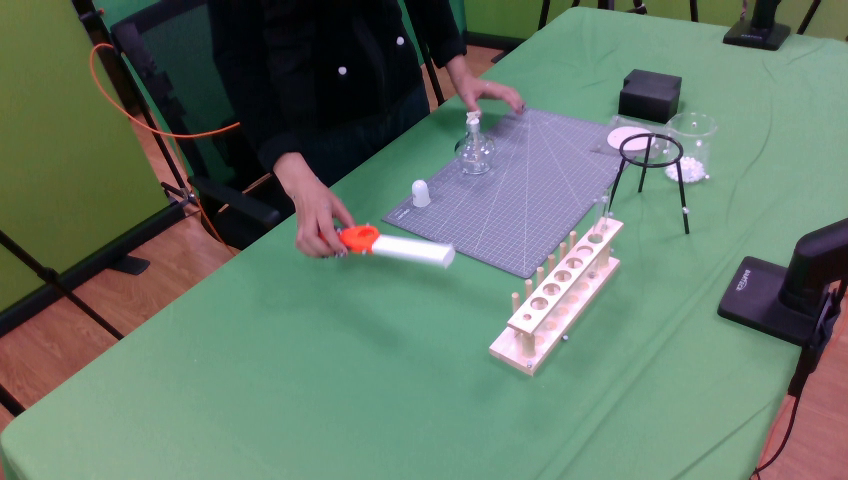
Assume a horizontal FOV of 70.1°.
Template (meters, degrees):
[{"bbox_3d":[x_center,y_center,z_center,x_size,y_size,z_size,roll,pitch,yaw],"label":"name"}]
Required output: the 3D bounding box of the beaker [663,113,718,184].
[{"bbox_3d":[0.442,-0.151,1.018,0.084,0.101,0.074,-1,40,11],"label":"beaker"}]

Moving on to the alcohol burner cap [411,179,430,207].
[{"bbox_3d":[-0.008,-0.085,1.063,0.034,0.048,0.033,-4,41,4],"label":"alcohol burner cap"}]

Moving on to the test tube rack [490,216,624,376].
[{"bbox_3d":[0.184,0.064,0.822,0.066,0.085,0.243,24,50,33],"label":"test tube rack"}]

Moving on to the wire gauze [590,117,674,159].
[{"bbox_3d":[0.393,-0.192,1.139,0.120,0.011,0.125,19,47,28],"label":"wire gauze"}]

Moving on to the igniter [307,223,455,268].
[{"bbox_3d":[-0.074,0.005,0.874,0.274,0.025,0.057,9,47,37],"label":"igniter"}]

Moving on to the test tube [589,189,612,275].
[{"bbox_3d":[0.238,-0.007,0.818,0.017,0.151,0.017,-3,43,4],"label":"test tube"}]

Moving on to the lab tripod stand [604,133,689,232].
[{"bbox_3d":[0.347,-0.086,0.932,0.148,0.132,0.147,-4,40,4],"label":"lab tripod stand"}]

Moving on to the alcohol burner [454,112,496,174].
[{"bbox_3d":[0.092,-0.181,1.102,0.078,0.119,0.077,-5,42,5],"label":"alcohol burner"}]
